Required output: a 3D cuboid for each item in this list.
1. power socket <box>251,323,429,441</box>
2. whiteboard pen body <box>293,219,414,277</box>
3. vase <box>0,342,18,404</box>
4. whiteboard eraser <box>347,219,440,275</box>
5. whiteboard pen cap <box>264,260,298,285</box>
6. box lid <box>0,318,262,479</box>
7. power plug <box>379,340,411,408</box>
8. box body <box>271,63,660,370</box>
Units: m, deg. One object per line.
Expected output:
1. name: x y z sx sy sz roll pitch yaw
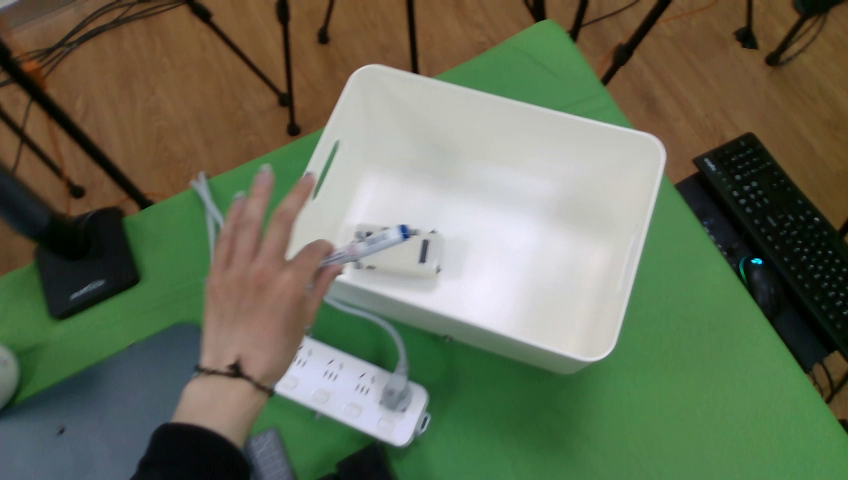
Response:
1. power socket: -0.102 0.167 0.721 0.226 0.033 0.072 21 73 12
2. whiteboard pen body: -0.073 0.011 0.531 0.140 0.017 0.017 -20 69 16
3. vase: -0.558 0.141 0.676 0.098 0.201 0.097 -1 68 4
4. whiteboard eraser: -0.039 0.009 0.758 0.112 0.042 0.055 8 73 5
5. whiteboard pen cap: -0.127 0.029 0.547 0.033 0.018 0.018 -19 69 17
6. box lid: -0.393 0.277 0.715 0.371 0.015 0.261 -27 70 -5
7. power plug: -0.023 0.158 0.694 0.035 0.053 0.072 30 71 15
8. box body: 0.050 -0.020 0.707 0.363 0.161 0.253 16 72 10
